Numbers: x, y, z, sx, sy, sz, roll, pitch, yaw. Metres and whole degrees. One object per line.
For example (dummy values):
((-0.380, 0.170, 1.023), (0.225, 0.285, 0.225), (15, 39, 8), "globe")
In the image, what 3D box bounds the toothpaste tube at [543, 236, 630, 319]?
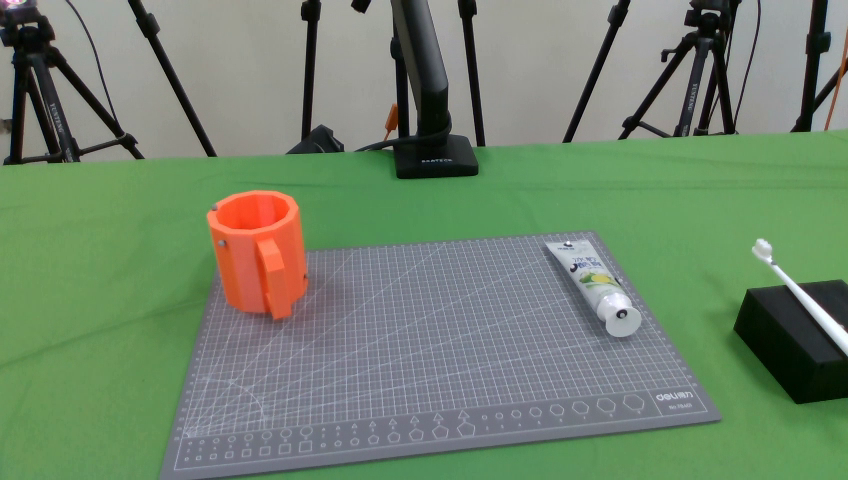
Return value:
((0.179, 0.036, 0.645), (0.055, 0.035, 0.163), (1, 29, -10), "toothpaste tube")

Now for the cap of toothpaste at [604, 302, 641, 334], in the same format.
((0.188, 0.073, 0.577), (0.037, 0.037, 0.011), (-5, 30, -8), "cap of toothpaste")

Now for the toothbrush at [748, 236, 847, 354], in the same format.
((0.347, 0.050, 0.551), (0.014, 0.017, 0.180), (2, 34, -6), "toothbrush")

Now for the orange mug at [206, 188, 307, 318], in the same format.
((-0.161, 0.017, 0.606), (0.084, 0.101, 0.125), (-15, 33, -21), "orange mug")
